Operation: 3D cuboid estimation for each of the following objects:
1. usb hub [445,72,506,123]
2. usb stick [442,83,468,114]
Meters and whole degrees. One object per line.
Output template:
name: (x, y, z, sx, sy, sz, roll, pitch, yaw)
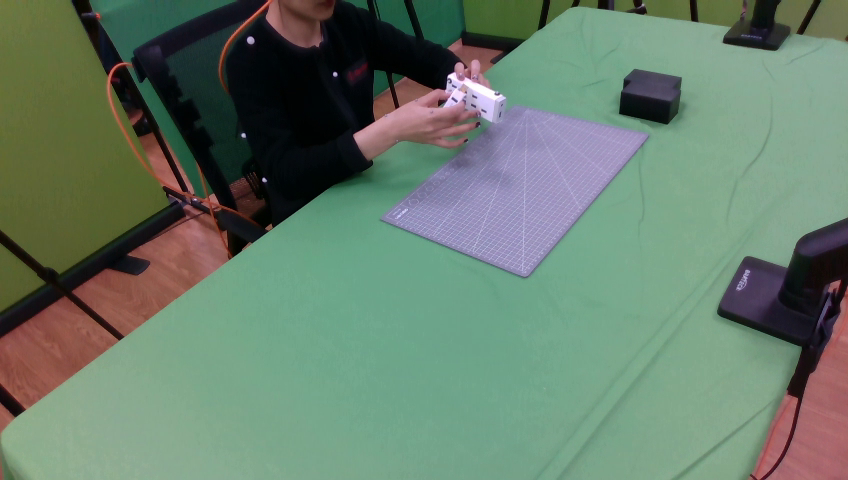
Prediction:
usb hub: (0.094, -0.264, 1.117, 0.124, 0.049, 0.025, 34, 49, 28)
usb stick: (0.058, -0.258, 1.093, 0.021, 0.059, 0.027, 37, 18, -1)
